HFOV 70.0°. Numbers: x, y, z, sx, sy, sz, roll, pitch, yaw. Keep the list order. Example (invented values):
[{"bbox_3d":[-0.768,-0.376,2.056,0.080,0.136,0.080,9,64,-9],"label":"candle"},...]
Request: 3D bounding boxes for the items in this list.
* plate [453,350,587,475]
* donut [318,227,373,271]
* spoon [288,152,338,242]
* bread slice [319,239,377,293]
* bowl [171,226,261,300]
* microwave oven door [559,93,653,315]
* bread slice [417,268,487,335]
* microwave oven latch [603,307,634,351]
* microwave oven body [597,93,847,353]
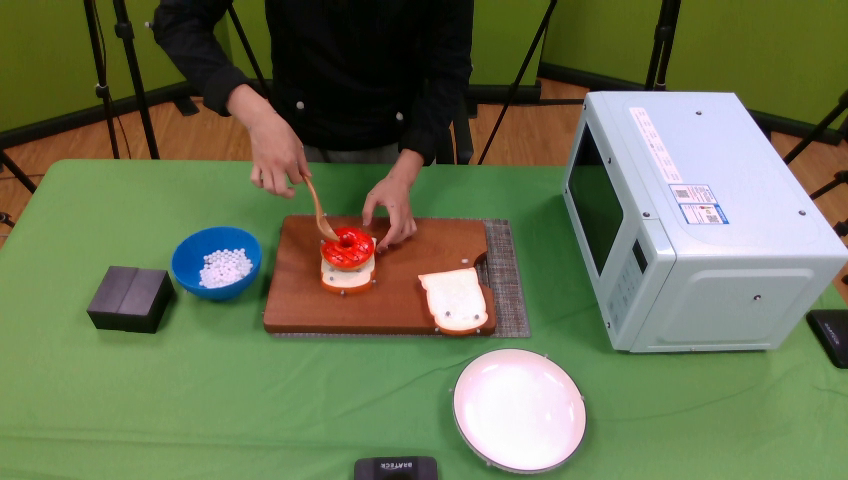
[{"bbox_3d":[0.147,0.267,0.943,0.208,0.039,0.206,2,46,-2],"label":"plate"},{"bbox_3d":[-0.141,0.017,1.096,0.099,0.048,0.098,2,44,-2],"label":"donut"},{"bbox_3d":[-0.198,-0.077,1.070,0.042,0.021,0.193,6,56,-63],"label":"spoon"},{"bbox_3d":[-0.140,0.044,1.111,0.105,0.019,0.130,0,45,-3],"label":"bread slice"},{"bbox_3d":[-0.363,0.054,1.081,0.151,0.077,0.150,3,45,-3],"label":"bowl"},{"bbox_3d":[0.327,-0.074,1.123,0.039,0.245,0.353,-1,46,-5],"label":"microwave oven door"},{"bbox_3d":[0.055,0.107,1.063,0.107,0.018,0.133,-9,48,-12],"label":"bread slice"},{"bbox_3d":[0.332,0.153,1.044,0.030,0.029,0.078,0,45,-4],"label":"microwave oven latch"},{"bbox_3d":[0.475,-0.041,1.109,0.326,0.261,0.438,-1,45,-4],"label":"microwave oven body"}]
